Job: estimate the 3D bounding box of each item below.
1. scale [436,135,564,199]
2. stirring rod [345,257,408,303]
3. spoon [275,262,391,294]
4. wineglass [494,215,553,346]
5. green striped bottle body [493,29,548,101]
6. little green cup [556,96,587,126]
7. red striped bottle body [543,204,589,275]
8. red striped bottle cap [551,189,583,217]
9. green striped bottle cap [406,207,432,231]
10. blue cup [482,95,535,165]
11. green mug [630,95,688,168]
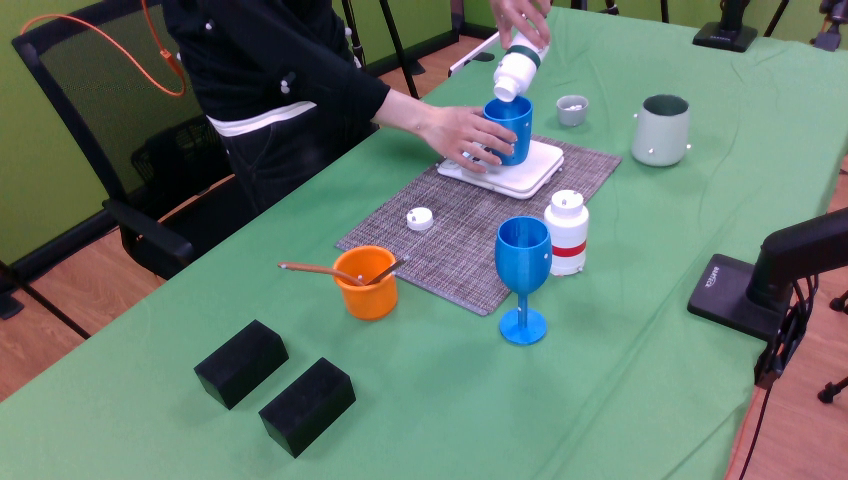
[{"bbox_3d":[0.137,-0.142,1.101,0.199,0.032,0.149,22,48,30],"label":"scale"},{"bbox_3d":[-0.067,0.056,0.815,0.014,0.175,0.006,-22,81,-37],"label":"stirring rod"},{"bbox_3d":[-0.120,0.050,0.830,0.041,0.195,0.021,31,96,45],"label":"spoon"},{"bbox_3d":[0.127,0.055,0.770,0.074,0.173,0.073,-4,40,4],"label":"wineglass"},{"bbox_3d":[0.160,-0.295,1.032,0.063,0.063,0.119,19,71,28],"label":"green striped bottle body"},{"bbox_3d":[0.295,-0.258,1.214,0.061,0.039,0.061,-4,42,4],"label":"little green cup"},{"bbox_3d":[0.206,-0.011,0.877,0.063,0.120,0.062,-4,41,4],"label":"red striped bottle body"},{"bbox_3d":[0.200,-0.052,0.843,0.044,0.018,0.044,-2,42,2],"label":"red striped bottle cap"},{"bbox_3d":[-0.008,-0.035,1.011,0.044,0.020,0.044,-2,42,2],"label":"green striped bottle cap"},{"bbox_3d":[0.148,-0.187,1.052,0.092,0.101,0.092,-7,41,6],"label":"blue cup"},{"bbox_3d":[0.421,-0.201,1.081,0.092,0.105,0.125,5,42,15],"label":"green mug"}]
